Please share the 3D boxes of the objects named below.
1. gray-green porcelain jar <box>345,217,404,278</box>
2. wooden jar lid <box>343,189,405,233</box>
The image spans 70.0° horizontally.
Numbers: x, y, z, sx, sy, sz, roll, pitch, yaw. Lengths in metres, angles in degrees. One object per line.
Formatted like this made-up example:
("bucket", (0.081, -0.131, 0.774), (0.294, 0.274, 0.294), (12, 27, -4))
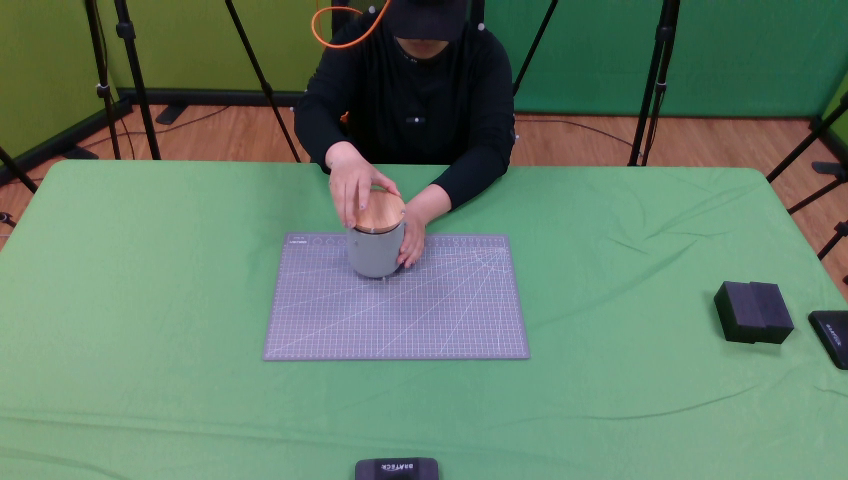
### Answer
("gray-green porcelain jar", (-0.091, -0.001, 1.117), (0.106, 0.127, 0.105), (2, 46, -2))
("wooden jar lid", (-0.088, -0.049, 1.061), (0.108, 0.021, 0.107), (5, 44, -4))
